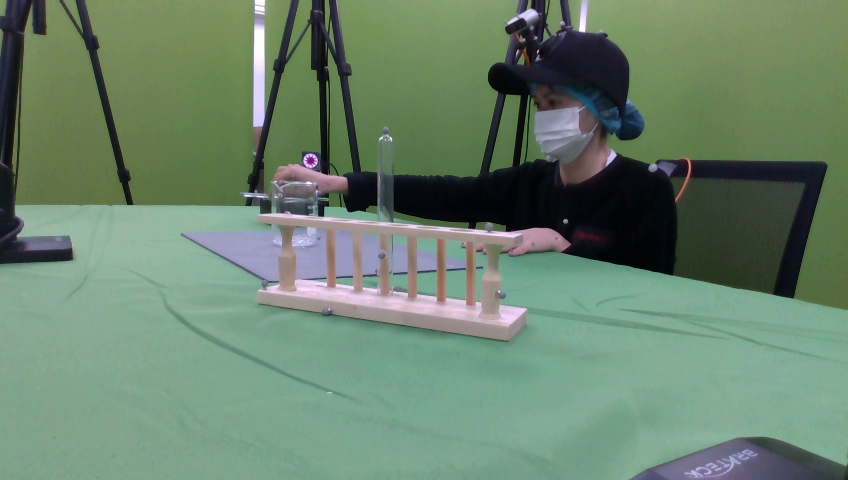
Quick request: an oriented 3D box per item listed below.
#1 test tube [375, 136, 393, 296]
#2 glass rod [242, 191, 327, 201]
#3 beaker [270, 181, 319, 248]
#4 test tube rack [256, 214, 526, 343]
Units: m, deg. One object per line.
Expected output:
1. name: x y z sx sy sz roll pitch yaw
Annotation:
1. test tube: -0.038 -0.021 0.565 0.017 0.150 0.017 1 6 0
2. glass rod: -0.288 -0.092 1.268 0.201 0.008 0.008 2 6 -43
3. beaker: -0.203 -0.040 0.935 0.074 0.100 0.084 5 8 18
4. test tube rack: -0.032 0.027 0.547 0.241 0.085 0.067 5 7 22
